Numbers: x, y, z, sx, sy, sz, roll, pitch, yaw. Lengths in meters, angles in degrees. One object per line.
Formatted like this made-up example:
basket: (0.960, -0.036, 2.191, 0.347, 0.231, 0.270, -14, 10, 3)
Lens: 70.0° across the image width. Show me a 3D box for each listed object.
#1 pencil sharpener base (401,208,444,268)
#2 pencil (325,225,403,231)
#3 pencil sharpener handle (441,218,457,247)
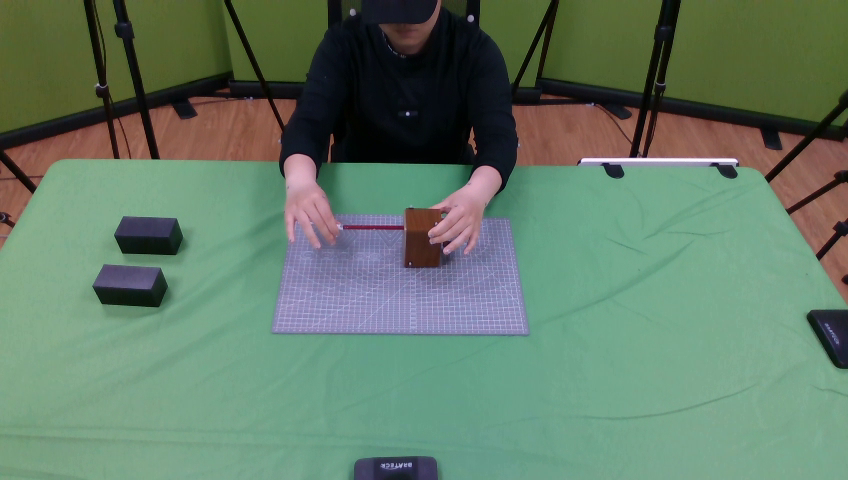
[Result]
pencil sharpener base: (-0.003, -0.002, 1.137, 0.077, 0.107, 0.061, 0, 46, -5)
pencil: (-0.083, -0.023, 1.111, 0.194, 0.012, 0.012, 0, 46, -7)
pencil sharpener handle: (0.048, -0.012, 1.133, 0.031, 0.068, 0.036, 0, 48, -5)
